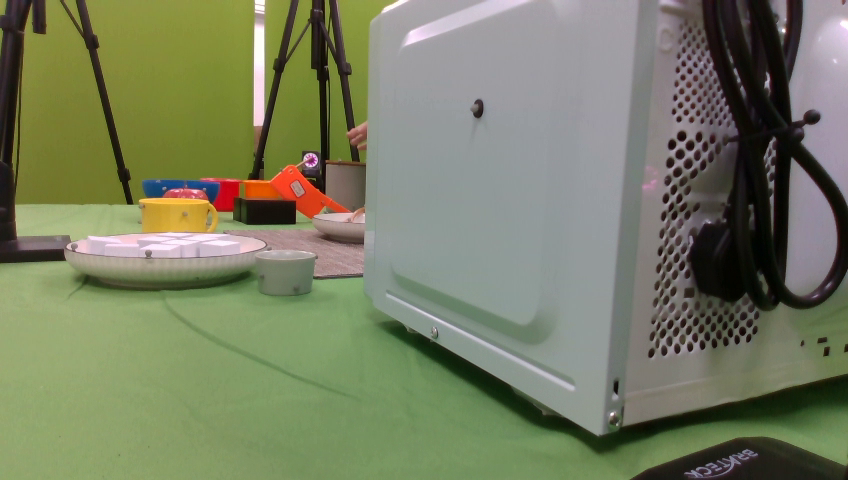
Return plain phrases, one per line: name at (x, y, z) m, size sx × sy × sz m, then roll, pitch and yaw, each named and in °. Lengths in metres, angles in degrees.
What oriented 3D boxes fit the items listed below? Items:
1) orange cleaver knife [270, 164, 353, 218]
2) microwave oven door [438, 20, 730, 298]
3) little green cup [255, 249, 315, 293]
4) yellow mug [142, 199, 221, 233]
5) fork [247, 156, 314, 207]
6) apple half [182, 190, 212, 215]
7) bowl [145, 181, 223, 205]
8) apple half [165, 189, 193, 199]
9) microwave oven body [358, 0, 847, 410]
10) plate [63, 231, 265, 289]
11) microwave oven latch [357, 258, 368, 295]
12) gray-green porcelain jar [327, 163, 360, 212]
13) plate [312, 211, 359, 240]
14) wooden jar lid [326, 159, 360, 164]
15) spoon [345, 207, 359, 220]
orange cleaver knife at (-0.240, -0.088, 1.329) m, size 0.212 × 0.077 × 0.012 m, roll 36°, pitch -9°, yaw -33°
microwave oven door at (0.181, -0.076, 0.618) m, size 0.358 × 0.243 × 0.039 m, roll -2°, pitch 8°, yaw -28°
little green cup at (-0.144, 0.031, 0.627) m, size 0.061 × 0.038 × 0.061 m, roll 2°, pitch 6°, yaw 0°
yellow mug at (-0.372, -0.030, 0.948) m, size 0.099 × 0.064 × 0.131 m, roll 6°, pitch 7°, yaw 30°
fork at (-0.360, -0.147, 1.522) m, size 0.207 × 0.018 × 0.028 m, roll -43°, pitch 14°, yaw -7°
apple half at (-0.402, -0.054, 1.090) m, size 0.033 × 0.081 × 0.081 m, roll 0°, pitch 7°, yaw 12°
bowl at (-0.499, -0.081, 1.261) m, size 0.151 × 0.077 × 0.151 m, roll 2°, pitch 8°, yaw 0°
apple half at (-0.441, -0.055, 1.097) m, size 0.053 × 0.074 × 0.081 m, roll 0°, pitch 10°, yaw 12°
microwave oven body at (0.210, -0.051, 0.471) m, size 0.444 × 0.260 × 0.324 m, roll -1°, pitch 7°, yaw -28°
plate at (-0.288, 0.021, 0.687) m, size 0.208 × 0.039 × 0.207 m, roll 2°, pitch 8°, yaw 0°
microwave oven latch at (-0.019, 0.031, 0.530) m, size 0.079 × 0.029 × 0.030 m, roll -1°, pitch 7°, yaw -27°
gray-green porcelain jar at (-0.187, -0.125, 1.490) m, size 0.106 × 0.126 × 0.106 m, roll 2°, pitch 7°, yaw 0°
plate at (-0.091, -0.026, 1.063) m, size 0.209 × 0.038 × 0.209 m, roll 2°, pitch 7°, yaw 0°
wooden jar lid at (-0.185, -0.187, 1.481) m, size 0.108 × 0.020 × 0.108 m, roll 4°, pitch 6°, yaw 0°
spoon at (-0.126, -0.047, 1.116) m, size 0.041 × 0.021 × 0.194 m, roll -8°, pitch 17°, yaw 16°
